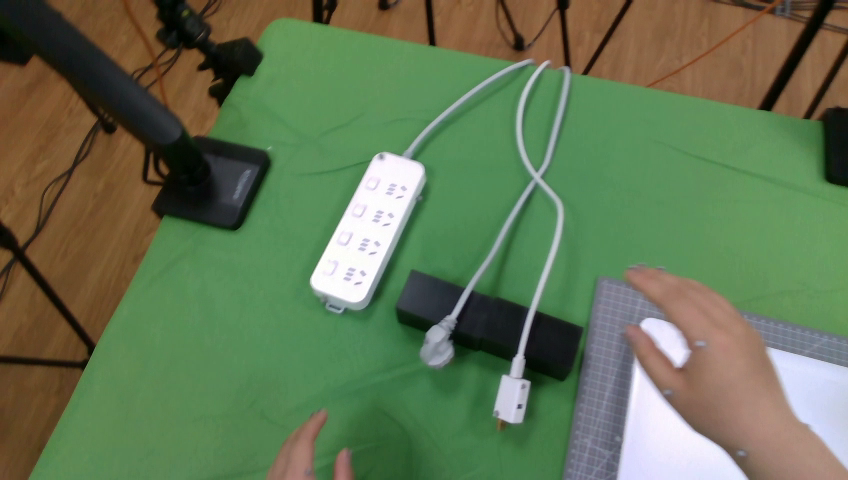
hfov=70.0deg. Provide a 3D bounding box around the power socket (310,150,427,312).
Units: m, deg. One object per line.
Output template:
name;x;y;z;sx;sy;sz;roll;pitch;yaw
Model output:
power socket;-0.065;-0.018;0.747;0.072;0.033;0.225;20;65;10

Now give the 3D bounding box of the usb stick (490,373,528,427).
usb stick;0.088;0.171;0.636;0.027;0.022;0.059;18;92;40

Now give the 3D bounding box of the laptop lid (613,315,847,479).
laptop lid;0.379;0.227;0.615;0.356;0.013;0.240;16;68;9

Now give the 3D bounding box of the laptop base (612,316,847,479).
laptop base;0.380;0.230;0.626;0.353;0.023;0.234;14;69;8

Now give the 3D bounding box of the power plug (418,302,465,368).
power plug;0.026;0.109;0.655;0.072;0.053;0.035;-33;48;-6
